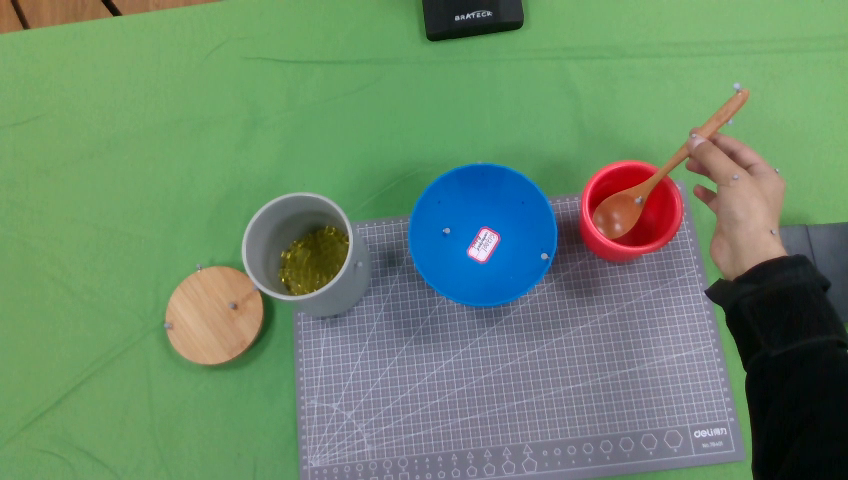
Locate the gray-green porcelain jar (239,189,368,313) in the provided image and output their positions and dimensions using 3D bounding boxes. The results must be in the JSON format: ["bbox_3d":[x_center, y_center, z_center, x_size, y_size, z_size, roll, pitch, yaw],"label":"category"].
[{"bbox_3d":[-0.116,0.017,0.621,0.106,0.127,0.105,-1,75,4],"label":"gray-green porcelain jar"}]

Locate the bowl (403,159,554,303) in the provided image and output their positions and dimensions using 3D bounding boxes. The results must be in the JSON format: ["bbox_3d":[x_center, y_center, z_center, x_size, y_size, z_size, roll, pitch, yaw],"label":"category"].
[{"bbox_3d":[0.057,-0.002,0.639,0.151,0.077,0.150,-1,75,4],"label":"bowl"}]

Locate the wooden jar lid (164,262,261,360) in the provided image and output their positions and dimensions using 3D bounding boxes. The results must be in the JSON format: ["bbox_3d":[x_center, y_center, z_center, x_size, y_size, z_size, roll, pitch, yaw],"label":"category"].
[{"bbox_3d":[-0.232,0.079,0.672,0.108,0.021,0.108,-1,76,4],"label":"wooden jar lid"}]

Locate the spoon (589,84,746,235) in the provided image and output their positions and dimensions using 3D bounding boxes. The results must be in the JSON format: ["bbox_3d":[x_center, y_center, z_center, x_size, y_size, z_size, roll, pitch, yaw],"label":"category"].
[{"bbox_3d":[0.231,-0.072,0.585,0.041,0.194,0.021,49,41,12],"label":"spoon"}]
